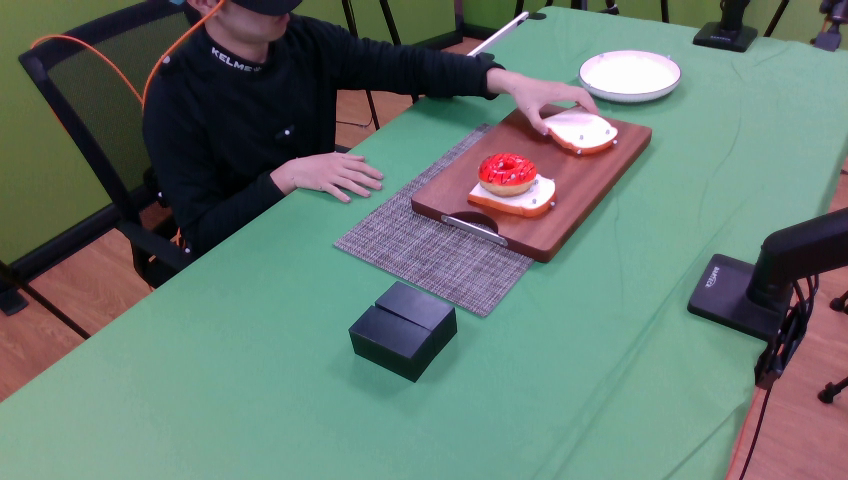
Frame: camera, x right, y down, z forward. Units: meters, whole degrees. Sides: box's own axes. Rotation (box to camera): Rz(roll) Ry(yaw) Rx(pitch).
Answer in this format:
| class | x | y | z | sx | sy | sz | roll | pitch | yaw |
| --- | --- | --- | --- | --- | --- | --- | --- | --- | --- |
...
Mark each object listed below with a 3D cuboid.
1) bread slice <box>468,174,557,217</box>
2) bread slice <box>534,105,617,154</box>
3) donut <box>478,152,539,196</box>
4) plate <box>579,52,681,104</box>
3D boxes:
| class | x | y | z | sx | sy | sz | roll | pitch | yaw |
| --- | --- | --- | --- | --- | --- | --- | --- | --- | --- |
| bread slice | 0.154 | -0.083 | 1.004 | 0.130 | 0.019 | 0.105 | 19 | 48 | 29 |
| bread slice | 0.288 | -0.202 | 1.118 | 0.107 | 0.018 | 0.133 | -28 | 46 | -21 |
| donut | 0.138 | -0.109 | 0.991 | 0.099 | 0.048 | 0.098 | -4 | 38 | 3 |
| plate | 0.437 | -0.343 | 1.294 | 0.209 | 0.038 | 0.208 | -4 | 40 | 4 |
